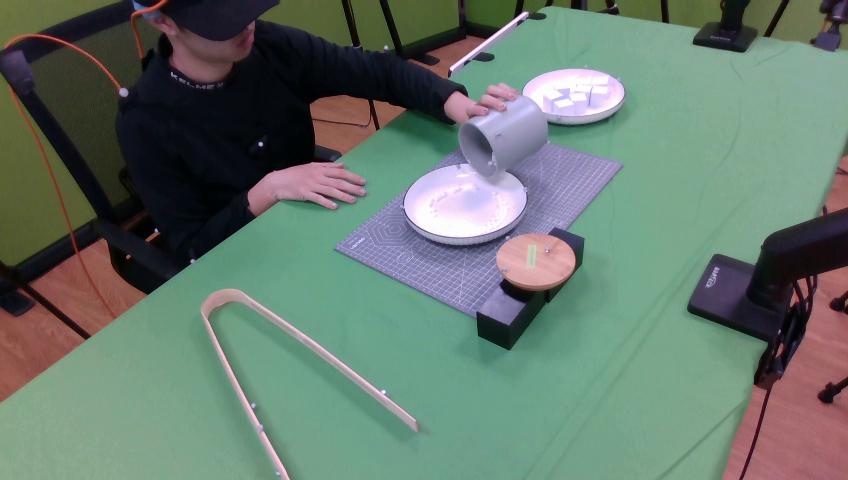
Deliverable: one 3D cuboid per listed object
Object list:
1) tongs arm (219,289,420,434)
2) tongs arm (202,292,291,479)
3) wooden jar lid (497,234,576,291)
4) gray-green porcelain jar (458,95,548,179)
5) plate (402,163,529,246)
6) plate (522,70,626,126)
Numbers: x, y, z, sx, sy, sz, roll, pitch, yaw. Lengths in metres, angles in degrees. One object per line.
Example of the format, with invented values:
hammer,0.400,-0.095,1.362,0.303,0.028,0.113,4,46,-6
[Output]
tongs arm,-0.152,0.151,0.812,0.384,0.028,0.028,26,53,33
tongs arm,-0.216,0.187,0.772,0.051,0.026,0.381,-27,43,-24
wooden jar lid,0.155,0.032,0.834,0.108,0.021,0.108,-5,40,4
gray-green porcelain jar,0.139,-0.180,1.031,0.127,0.106,0.105,-32,46,-20
plate,0.069,-0.056,1.008,0.209,0.038,0.208,-4,40,4
plate,0.308,-0.289,1.251,0.207,0.039,0.206,-4,40,4
